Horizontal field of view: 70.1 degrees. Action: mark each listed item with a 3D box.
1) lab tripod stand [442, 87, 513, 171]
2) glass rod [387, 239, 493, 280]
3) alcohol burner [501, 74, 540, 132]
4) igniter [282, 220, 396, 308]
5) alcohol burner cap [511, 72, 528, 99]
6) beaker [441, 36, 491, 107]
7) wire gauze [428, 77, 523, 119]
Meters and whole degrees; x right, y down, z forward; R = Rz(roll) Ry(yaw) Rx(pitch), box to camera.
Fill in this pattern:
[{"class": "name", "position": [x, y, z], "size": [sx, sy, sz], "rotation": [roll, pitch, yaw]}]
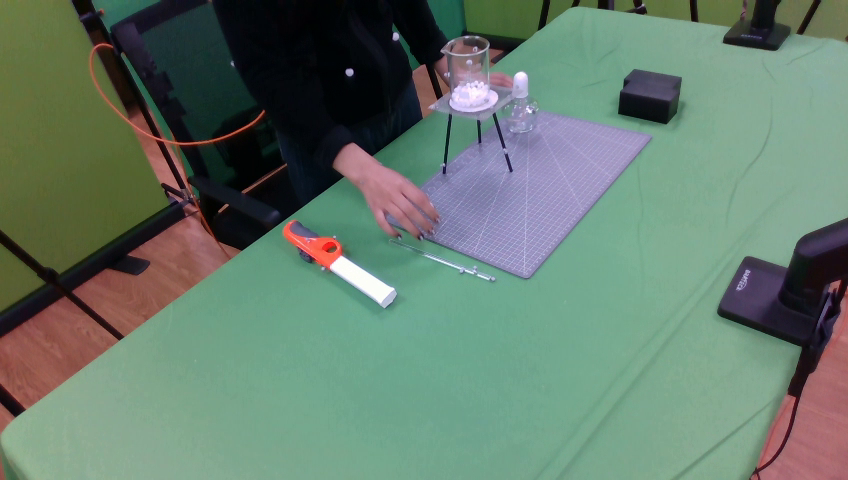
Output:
[{"class": "lab tripod stand", "position": [0.097, -0.201, 1.108], "size": [0.148, 0.132, 0.147], "rotation": [-4, 40, 4]}, {"class": "glass rod", "position": [0.021, 0.029, 0.953], "size": [0.198, 0.008, 0.008], "rotation": [19, 48, 29]}, {"class": "alcohol burner", "position": [0.191, -0.275, 1.194], "size": [0.078, 0.119, 0.077], "rotation": [-4, 42, 4]}, {"class": "igniter", "position": [-0.146, 0.032, 0.966], "size": [0.274, 0.025, 0.057], "rotation": [30, 64, 37]}, {"class": "alcohol burner cap", "position": [0.185, -0.302, 1.171], "size": [0.034, 0.048, 0.033], "rotation": [-2, 42, 2]}, {"class": "beaker", "position": [0.074, -0.287, 1.036], "size": [0.084, 0.101, 0.073], "rotation": [-1, 41, 8]}, {"class": "wire gauze", "position": [0.090, -0.248, 1.063], "size": [0.120, 0.011, 0.125], "rotation": [24, 48, 30]}]
